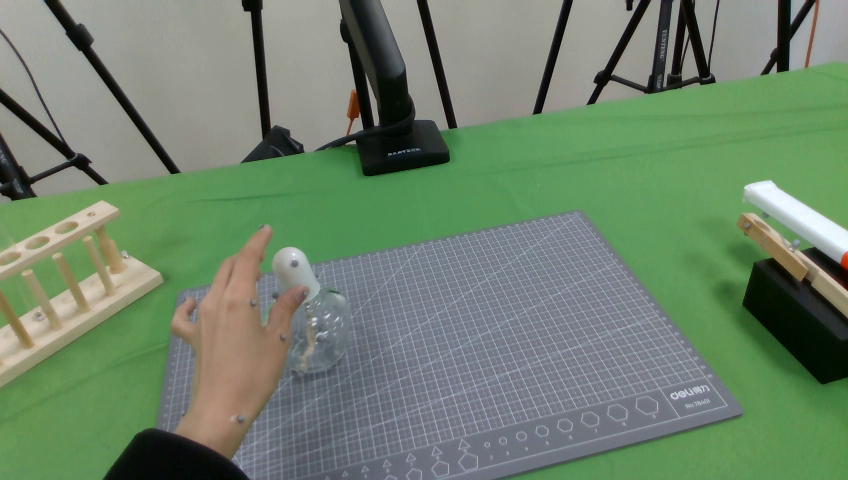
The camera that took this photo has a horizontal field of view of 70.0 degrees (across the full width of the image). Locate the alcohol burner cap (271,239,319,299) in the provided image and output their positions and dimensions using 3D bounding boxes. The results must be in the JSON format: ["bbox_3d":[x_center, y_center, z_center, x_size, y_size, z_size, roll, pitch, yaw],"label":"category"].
[{"bbox_3d":[-0.107,0.021,0.493,0.034,0.048,0.033,-6,39,5],"label":"alcohol burner cap"}]

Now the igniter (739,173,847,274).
[{"bbox_3d":[0.361,0.013,0.498,0.057,0.025,0.273,-13,34,-7],"label":"igniter"}]

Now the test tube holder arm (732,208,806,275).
[{"bbox_3d":[0.302,0.000,0.529,0.010,0.015,0.087,-10,37,-11],"label":"test tube holder arm"}]

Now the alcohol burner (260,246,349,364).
[{"bbox_3d":[-0.104,0.049,0.515,0.078,0.120,0.077,-2,38,2],"label":"alcohol burner"}]

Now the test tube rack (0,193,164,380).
[{"bbox_3d":[-0.382,0.056,0.573,0.066,0.086,0.242,22,45,31],"label":"test tube rack"}]

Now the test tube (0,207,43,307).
[{"bbox_3d":[-0.389,0.001,0.563,0.017,0.151,0.017,-3,31,2],"label":"test tube"}]

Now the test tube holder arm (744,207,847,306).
[{"bbox_3d":[0.319,0.024,0.495,0.013,0.015,0.176,-11,37,-12],"label":"test tube holder arm"}]
